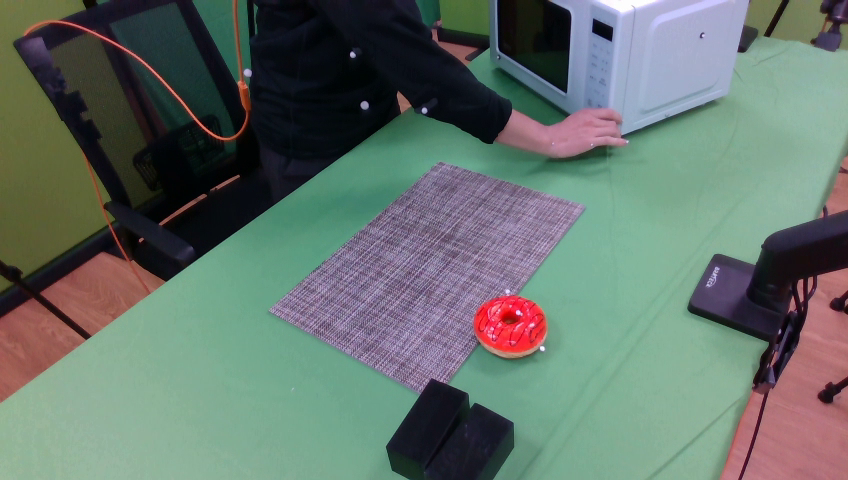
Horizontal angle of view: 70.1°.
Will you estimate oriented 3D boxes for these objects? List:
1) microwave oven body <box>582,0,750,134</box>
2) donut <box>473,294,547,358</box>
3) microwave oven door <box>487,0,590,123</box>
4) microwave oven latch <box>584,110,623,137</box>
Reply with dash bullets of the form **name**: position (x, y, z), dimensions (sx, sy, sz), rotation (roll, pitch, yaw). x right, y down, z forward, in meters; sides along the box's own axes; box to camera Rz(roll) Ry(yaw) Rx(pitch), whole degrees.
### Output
- **microwave oven body**: position (0.382, -0.445, 1.246), dimensions (0.327, 0.261, 0.437), rotation (-22, 42, -16)
- **donut**: position (0.114, 0.113, 0.803), dimensions (0.099, 0.048, 0.098), rotation (0, 40, 1)
- **microwave oven door**: position (0.232, -0.420, 1.231), dimensions (0.039, 0.245, 0.352), rotation (-22, 43, -16)
- **microwave oven latch**: position (0.337, -0.222, 1.142), dimensions (0.030, 0.029, 0.078), rotation (-21, 42, -15)
